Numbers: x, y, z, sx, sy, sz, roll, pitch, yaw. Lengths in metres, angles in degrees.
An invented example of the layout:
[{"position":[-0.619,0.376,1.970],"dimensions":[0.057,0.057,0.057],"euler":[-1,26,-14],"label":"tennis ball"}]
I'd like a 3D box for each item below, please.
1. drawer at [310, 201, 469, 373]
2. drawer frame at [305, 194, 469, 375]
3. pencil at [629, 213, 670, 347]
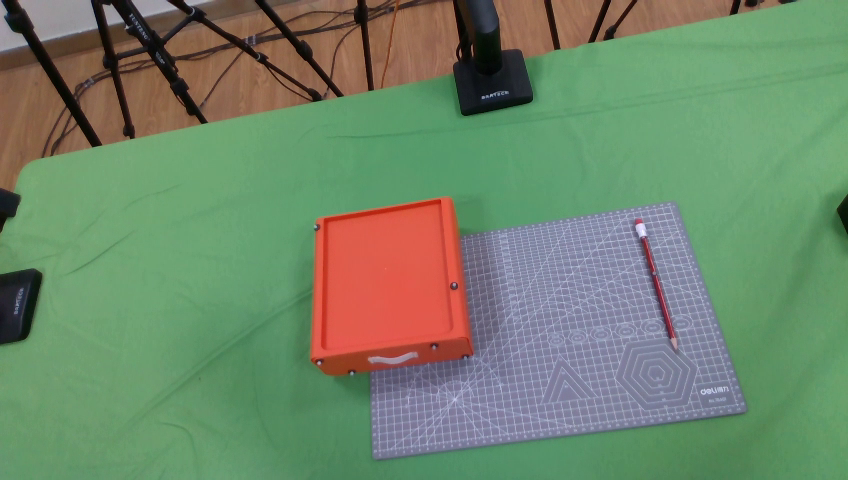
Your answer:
[{"position":[-0.050,0.062,0.817],"dimensions":[0.194,0.074,0.209],"euler":[-10,59,7],"label":"drawer"},{"position":[-0.052,0.060,0.817],"dimensions":[0.201,0.083,0.211],"euler":[-10,59,7],"label":"drawer frame"},{"position":[0.298,0.049,0.799],"dimensions":[0.012,0.012,0.192],"euler":[-9,62,6],"label":"pencil"}]
